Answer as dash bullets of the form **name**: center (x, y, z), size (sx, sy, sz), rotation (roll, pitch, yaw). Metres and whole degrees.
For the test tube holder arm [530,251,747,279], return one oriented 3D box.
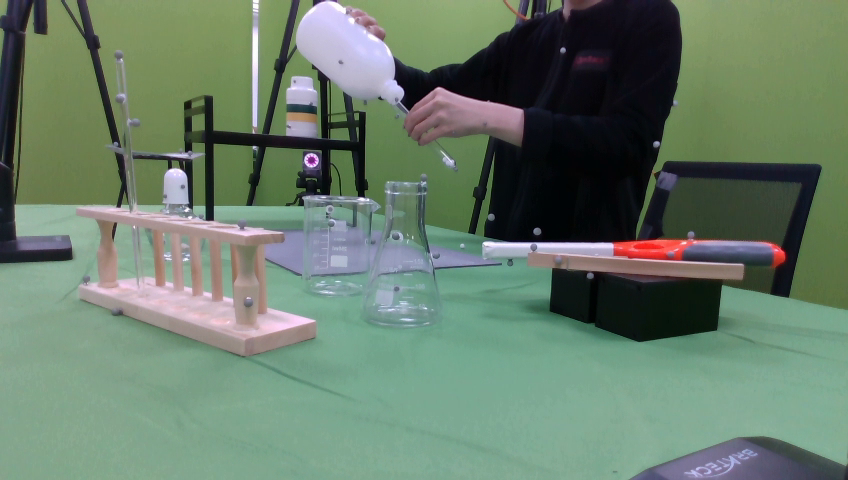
- **test tube holder arm**: center (0.182, 0.022, 0.523), size (0.178, 0.015, 0.013), rotation (3, 7, 12)

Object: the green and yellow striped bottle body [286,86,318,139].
- **green and yellow striped bottle body**: center (-0.251, -0.270, 1.245), size (0.063, 0.119, 0.063), rotation (2, 7, 0)

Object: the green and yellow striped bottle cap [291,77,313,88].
- **green and yellow striped bottle cap**: center (-0.250, -0.321, 1.238), size (0.045, 0.020, 0.045), rotation (3, 6, 0)

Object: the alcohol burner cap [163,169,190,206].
- **alcohol burner cap**: center (-0.321, -0.068, 0.782), size (0.034, 0.048, 0.034), rotation (1, 7, 0)

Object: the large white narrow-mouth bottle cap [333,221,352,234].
- **large white narrow-mouth bottle cap**: center (-0.152, -0.024, 1.134), size (0.038, 0.024, 0.037), rotation (4, 7, 0)

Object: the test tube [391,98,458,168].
- **test tube**: center (0.000, -0.166, 0.937), size (0.150, 0.017, 0.017), rotation (48, 25, 15)

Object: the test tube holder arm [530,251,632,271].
- **test tube holder arm**: center (0.139, 0.019, 0.538), size (0.087, 0.015, 0.010), rotation (3, 7, 13)

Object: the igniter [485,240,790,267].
- **igniter**: center (0.197, 0.012, 0.585), size (0.276, 0.025, 0.057), rotation (1, 5, 12)

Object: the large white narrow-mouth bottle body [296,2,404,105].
- **large white narrow-mouth bottle body**: center (-0.109, -0.289, 0.977), size (0.194, 0.101, 0.102), rotation (43, 19, 11)

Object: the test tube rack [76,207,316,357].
- **test tube rack**: center (-0.196, 0.023, 0.500), size (0.241, 0.085, 0.067), rotation (8, 9, 36)

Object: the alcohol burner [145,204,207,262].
- **alcohol burner**: center (-0.321, -0.032, 0.788), size (0.078, 0.119, 0.078), rotation (0, 7, 0)

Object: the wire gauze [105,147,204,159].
- **wire gauze**: center (-0.407, -0.131, 0.929), size (0.125, 0.011, 0.121), rotation (2, 6, -11)

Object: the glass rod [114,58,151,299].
- **glass rod**: center (-0.236, -0.044, 0.492), size (0.008, 0.199, 0.008), rotation (0, 15, 0)

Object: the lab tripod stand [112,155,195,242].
- **lab tripod stand**: center (-0.405, -0.064, 0.931), size (0.148, 0.131, 0.148), rotation (1, 7, 0)

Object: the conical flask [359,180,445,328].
- **conical flask**: center (-0.017, 0.010, 0.522), size (0.075, 0.122, 0.075), rotation (2, 7, 0)

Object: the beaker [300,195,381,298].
- **beaker**: center (-0.087, 0.006, 0.626), size (0.084, 0.100, 0.074), rotation (1, 8, -17)
